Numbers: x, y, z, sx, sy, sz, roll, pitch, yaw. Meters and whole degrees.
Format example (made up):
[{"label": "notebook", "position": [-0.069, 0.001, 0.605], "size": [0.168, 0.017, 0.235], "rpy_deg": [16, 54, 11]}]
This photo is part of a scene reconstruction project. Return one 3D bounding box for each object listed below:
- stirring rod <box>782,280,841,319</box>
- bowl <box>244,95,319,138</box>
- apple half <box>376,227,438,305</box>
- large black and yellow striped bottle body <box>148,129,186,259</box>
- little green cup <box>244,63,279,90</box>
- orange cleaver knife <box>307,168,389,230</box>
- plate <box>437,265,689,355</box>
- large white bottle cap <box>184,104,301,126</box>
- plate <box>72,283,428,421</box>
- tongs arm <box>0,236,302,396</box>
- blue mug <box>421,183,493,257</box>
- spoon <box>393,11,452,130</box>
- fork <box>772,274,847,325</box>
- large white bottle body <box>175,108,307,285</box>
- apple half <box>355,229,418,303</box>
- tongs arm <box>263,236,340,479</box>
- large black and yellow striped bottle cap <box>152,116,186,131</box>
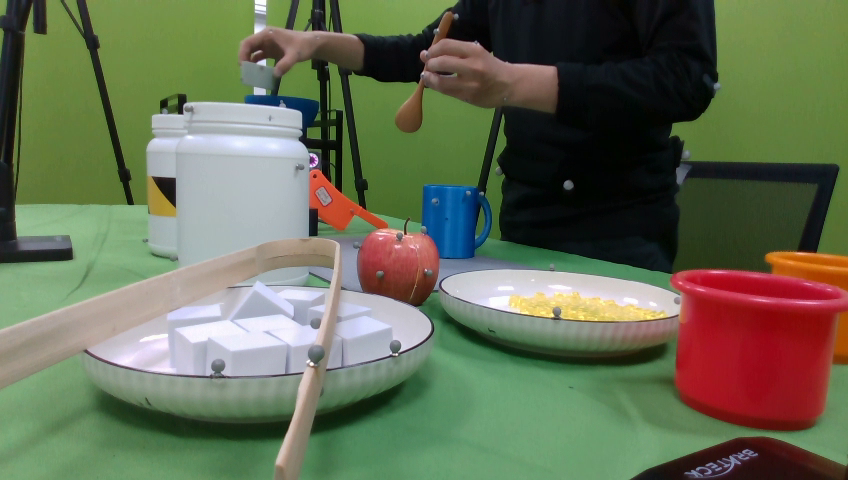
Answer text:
[{"label": "stirring rod", "position": [0.344, 0.019, 0.460], "size": [0.014, 0.006, 0.176], "rpy_deg": [-13, -27, -30]}, {"label": "bowl", "position": [-0.293, -0.251, 1.249], "size": [0.151, 0.077, 0.151], "rpy_deg": [2, 8, 0]}, {"label": "apple half", "position": [-0.017, 0.026, 0.593], "size": [0.080, 0.074, 0.053], "rpy_deg": [4, 2, 43]}, {"label": "large black and yellow striped bottle body", "position": [-0.310, -0.072, 0.838], "size": [0.131, 0.184, 0.130], "rpy_deg": [2, 8, 0]}, {"label": "little green cup", "position": [-0.284, -0.285, 1.053], "size": [0.061, 0.038, 0.061], "rpy_deg": [9, 15, -2]}, {"label": "orange cleaver knife", "position": [-0.158, -0.060, 1.166], "size": [0.212, 0.077, 0.012], "rpy_deg": [34, -12, -32]}, {"label": "plate", "position": [0.114, 0.057, 0.517], "size": [0.209, 0.038, 0.209], "rpy_deg": [3, 8, 0]}, {"label": "large white bottle cap", "position": [-0.184, -0.126, 0.618], "size": [0.115, 0.018, 0.115], "rpy_deg": [2, 8, 0]}, {"label": "plate", "position": [-0.102, 0.066, 0.381], "size": [0.208, 0.039, 0.207], "rpy_deg": [2, 7, 0]}, {"label": "tongs arm", "position": [-0.158, 0.039, 0.351], "size": [0.028, 0.028, 0.388], "rpy_deg": [-3, 8, 11]}, {"label": "blue mug", "position": [0.052, -0.032, 0.912], "size": [0.117, 0.106, 0.082], "rpy_deg": [-1, 8, -24]}, {"label": "spoon", "position": [-0.001, -0.231, 0.846], "size": [0.042, 0.193, 0.021], "rpy_deg": [21, 37, -4]}, {"label": "fork", "position": [0.332, 0.018, 0.443], "size": [0.028, 0.018, 0.207], "rpy_deg": [-1, -36, -15]}, {"label": "large white bottle body", "position": [-0.188, -0.042, 0.630], "size": [0.131, 0.184, 0.130], "rpy_deg": [2, 8, 0]}, {"label": "apple half", "position": [-0.043, 0.027, 0.564], "size": [0.081, 0.081, 0.033], "rpy_deg": [9, 5, 42]}, {"label": "tongs arm", "position": [-0.074, 0.039, 0.349], "size": [0.051, 0.026, 0.384], "rpy_deg": [-2, 10, -3]}, {"label": "large black and yellow striped bottle cap", "position": [-0.309, -0.155, 0.826], "size": [0.115, 0.019, 0.115], "rpy_deg": [3, 6, 0]}]
